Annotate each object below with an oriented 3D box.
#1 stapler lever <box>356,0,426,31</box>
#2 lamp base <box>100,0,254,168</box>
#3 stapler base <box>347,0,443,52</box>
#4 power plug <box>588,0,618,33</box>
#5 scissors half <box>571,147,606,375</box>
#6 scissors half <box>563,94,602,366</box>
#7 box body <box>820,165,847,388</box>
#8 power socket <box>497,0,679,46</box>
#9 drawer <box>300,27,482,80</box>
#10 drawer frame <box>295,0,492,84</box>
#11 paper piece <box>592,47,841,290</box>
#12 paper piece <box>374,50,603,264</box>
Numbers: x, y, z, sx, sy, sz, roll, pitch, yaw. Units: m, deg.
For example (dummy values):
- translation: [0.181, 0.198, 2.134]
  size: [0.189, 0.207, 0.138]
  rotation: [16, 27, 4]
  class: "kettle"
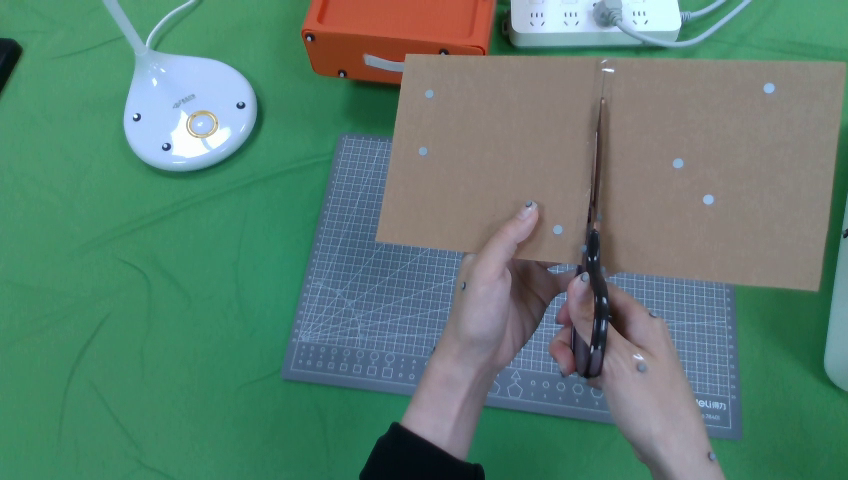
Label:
- translation: [-0.047, -0.275, 0.693]
  size: [0.117, 0.040, 0.027]
  rotation: [36, 88, 21]
  class: "stapler lever"
- translation: [-0.301, -0.197, 0.671]
  size: [0.178, 0.182, 0.160]
  rotation: [38, 72, 21]
  class: "lamp base"
- translation: [-0.038, -0.269, 0.717]
  size: [0.129, 0.024, 0.041]
  rotation: [36, 88, 20]
  class: "stapler base"
- translation: [0.215, -0.266, 0.734]
  size: [0.035, 0.053, 0.072]
  rotation: [10, 67, 7]
  class: "power plug"
- translation: [0.102, -0.007, 0.368]
  size: [0.013, 0.040, 0.174]
  rotation: [6, 71, 1]
  class: "scissors half"
- translation: [0.103, -0.005, 0.390]
  size: [0.013, 0.040, 0.175]
  rotation: [6, 100, 6]
  class: "scissors half"
- translation: [0.545, -0.005, 0.557]
  size: [0.253, 0.161, 0.362]
  rotation: [19, 68, 11]
  class: "box body"
- translation: [0.208, -0.283, 0.767]
  size: [0.227, 0.033, 0.071]
  rotation: [1, 67, 3]
  class: "power socket"
- translation: [-0.020, -0.287, 0.705]
  size: [0.194, 0.074, 0.210]
  rotation: [7, 66, 7]
  class: "drawer"
- translation: [-0.022, -0.290, 0.706]
  size: [0.201, 0.083, 0.212]
  rotation: [7, 66, 6]
  class: "drawer frame"
- translation: [0.168, -0.046, 0.365]
  size: [0.135, 0.004, 0.135]
  rotation: [8, 93, 16]
  class: "paper piece"
- translation: [0.040, -0.059, 0.395]
  size: [0.135, 0.009, 0.138]
  rotation: [6, 85, 17]
  class: "paper piece"
